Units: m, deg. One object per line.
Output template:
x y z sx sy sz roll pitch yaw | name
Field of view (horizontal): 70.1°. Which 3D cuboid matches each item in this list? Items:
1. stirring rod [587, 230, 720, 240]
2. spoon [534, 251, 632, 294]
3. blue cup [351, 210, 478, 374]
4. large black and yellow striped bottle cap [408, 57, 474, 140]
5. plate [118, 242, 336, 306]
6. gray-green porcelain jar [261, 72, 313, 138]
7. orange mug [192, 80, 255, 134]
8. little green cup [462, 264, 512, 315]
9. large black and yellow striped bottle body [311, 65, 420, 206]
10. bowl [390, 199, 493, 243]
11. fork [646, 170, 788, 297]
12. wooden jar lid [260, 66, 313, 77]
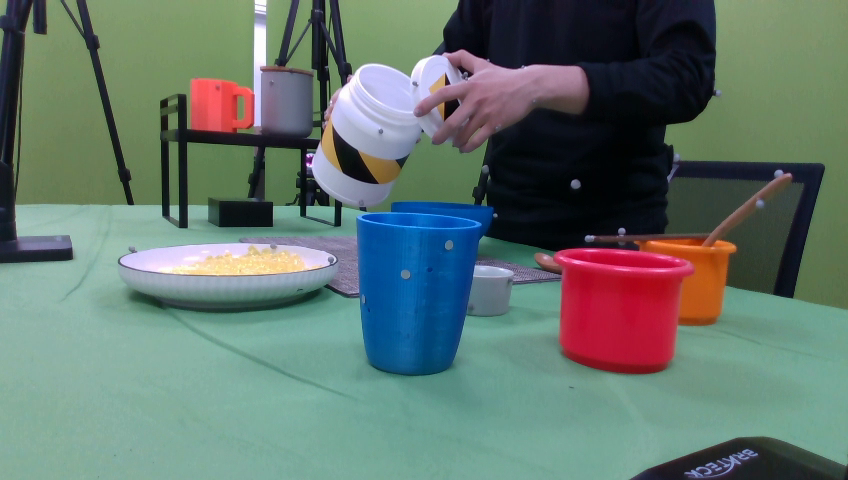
0.226 -0.005 0.587 0.177 0.006 0.014 -2 9 -29 | stirring rod
0.193 0.038 0.753 0.042 0.021 0.193 14 2 -20 | spoon
-0.009 0.034 0.414 0.093 0.100 0.092 4 8 0 | blue cup
0.025 -0.193 0.822 0.018 0.115 0.115 -18 -8 42 | large black and yellow striped bottle cap
-0.194 0.033 0.615 0.209 0.038 0.209 2 7 0 | plate
-0.284 -0.276 1.253 0.106 0.126 0.106 2 8 0 | gray-green porcelain jar
-0.388 -0.257 1.173 0.126 0.101 0.083 -1 7 9 | orange mug
0.053 0.047 0.579 0.061 0.038 0.061 3 8 0 | little green cup
-0.084 -0.156 0.910 0.131 0.183 0.130 18 42 -16 | large black and yellow striped bottle body
0.023 -0.016 0.874 0.151 0.077 0.151 3 7 0 | bowl
0.256 0.004 0.543 0.028 0.018 0.207 3 -36 -10 | fork
-0.283 -0.339 1.244 0.108 0.020 0.108 5 8 0 | wooden jar lid
